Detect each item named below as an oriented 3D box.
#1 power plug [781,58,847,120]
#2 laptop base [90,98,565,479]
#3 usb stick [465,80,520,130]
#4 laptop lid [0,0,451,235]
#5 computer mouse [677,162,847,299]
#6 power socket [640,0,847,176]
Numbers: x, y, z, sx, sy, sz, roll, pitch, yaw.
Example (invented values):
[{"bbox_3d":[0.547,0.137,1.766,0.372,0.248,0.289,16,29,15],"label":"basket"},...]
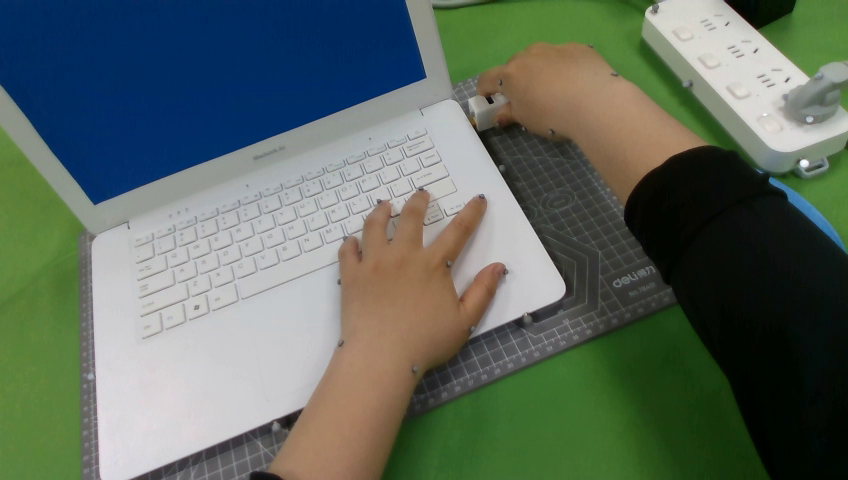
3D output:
[{"bbox_3d":[0.311,-0.110,0.460,0.072,0.053,0.035,-11,57,3],"label":"power plug"},{"bbox_3d":[-0.095,0.021,0.493,0.354,0.023,0.233,-22,57,-4],"label":"laptop base"},{"bbox_3d":[0.055,-0.118,0.541,0.059,0.027,0.021,-23,52,2],"label":"usb stick"},{"bbox_3d":[-0.165,-0.150,0.482,0.357,0.244,0.013,-23,41,-2],"label":"laptop lid"},{"bbox_3d":[0.237,-0.014,0.431,0.063,0.041,0.116,-22,49,-2],"label":"computer mouse"},{"bbox_3d":[0.266,-0.144,0.519,0.072,0.033,0.224,-20,54,-1],"label":"power socket"}]
